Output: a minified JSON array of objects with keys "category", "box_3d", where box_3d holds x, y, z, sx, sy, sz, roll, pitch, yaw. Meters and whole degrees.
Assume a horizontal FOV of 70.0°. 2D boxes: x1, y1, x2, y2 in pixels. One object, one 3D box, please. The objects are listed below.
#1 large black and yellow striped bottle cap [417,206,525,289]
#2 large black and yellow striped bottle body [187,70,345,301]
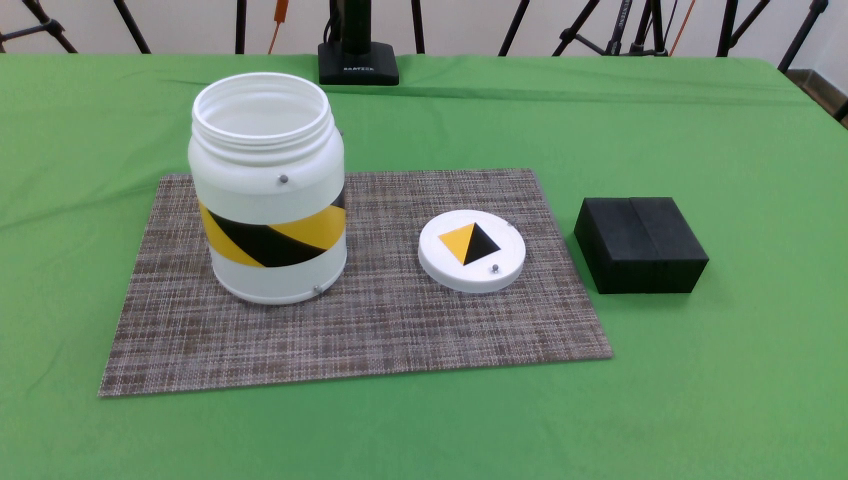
[{"category":"large black and yellow striped bottle cap","box_3d":[0.050,0.005,0.647,0.115,0.019,0.114,3,42,-2]},{"category":"large black and yellow striped bottle body","box_3d":[-0.140,-0.048,0.559,0.131,0.185,0.129,3,43,-2]}]
